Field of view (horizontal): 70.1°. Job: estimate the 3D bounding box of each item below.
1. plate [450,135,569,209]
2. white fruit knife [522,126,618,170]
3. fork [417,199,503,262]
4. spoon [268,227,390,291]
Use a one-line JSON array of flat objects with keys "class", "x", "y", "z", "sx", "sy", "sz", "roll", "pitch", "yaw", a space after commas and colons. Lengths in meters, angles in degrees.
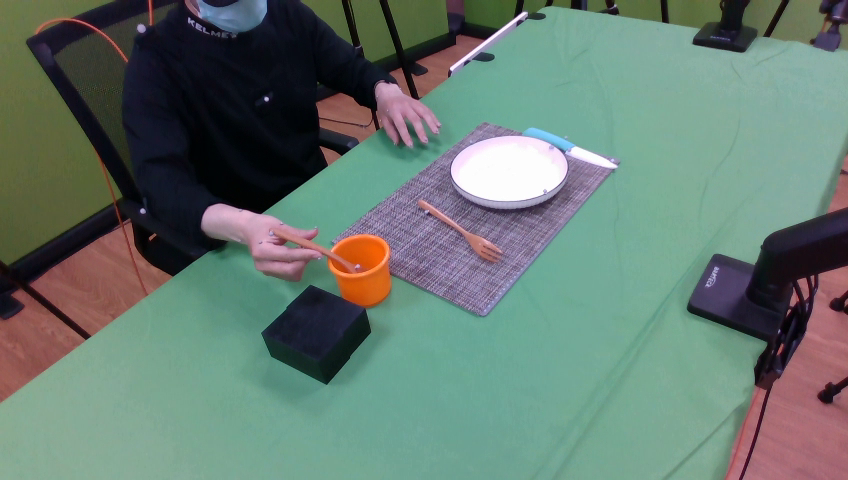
[{"class": "plate", "x": 0.149, "y": -0.117, "z": 1.066, "sx": 0.209, "sy": 0.038, "sz": 0.208, "roll": -4, "pitch": 41, "yaw": 4}, {"class": "white fruit knife", "x": 0.272, "y": -0.172, "z": 1.132, "sx": 0.205, "sy": 0.016, "sz": 0.027, "roll": 32, "pitch": 82, "yaw": 34}, {"class": "fork", "x": 0.053, "y": -0.021, "z": 0.981, "sx": 0.019, "sy": 0.028, "sz": 0.205, "roll": 1, "pitch": 26, "yaw": -41}, {"class": "spoon", "x": -0.132, "y": 0.025, "z": 0.862, "sx": 0.021, "sy": 0.195, "sz": 0.041, "roll": -42, "pitch": 30, "yaw": 31}]
